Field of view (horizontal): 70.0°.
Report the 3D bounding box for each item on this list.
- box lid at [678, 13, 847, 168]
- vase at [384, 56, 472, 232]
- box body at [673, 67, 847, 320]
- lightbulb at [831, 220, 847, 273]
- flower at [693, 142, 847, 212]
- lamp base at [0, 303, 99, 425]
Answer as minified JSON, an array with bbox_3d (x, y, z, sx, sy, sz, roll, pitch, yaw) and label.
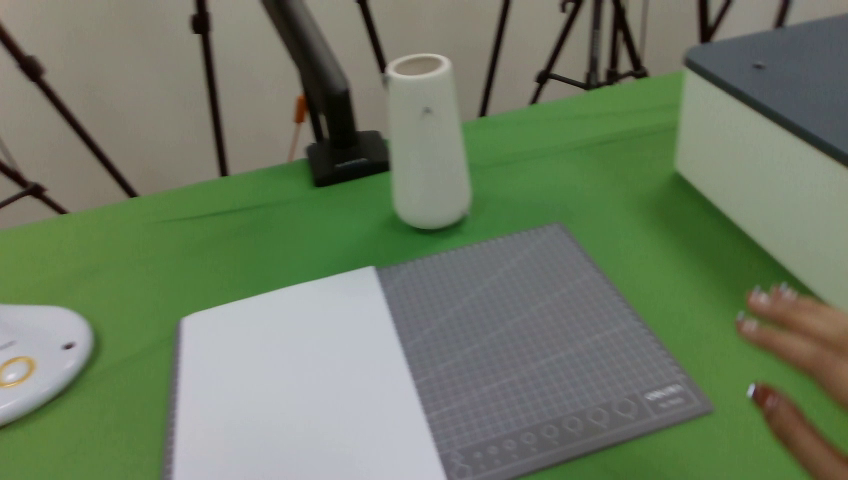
[{"bbox_3d":[0.452,-0.141,0.579,0.263,0.015,0.367,-14,37,-6],"label":"box lid"},{"bbox_3d":[0.002,-0.109,0.716,0.098,0.202,0.097,-6,36,5],"label":"vase"},{"bbox_3d":[0.461,-0.084,0.626,0.254,0.162,0.360,-14,37,-7],"label":"box body"},{"bbox_3d":[0.434,0.006,0.593,0.059,0.060,0.107,-1,21,10],"label":"lightbulb"},{"bbox_3d":[0.476,-0.035,0.674,0.044,0.038,0.358,-31,46,-33],"label":"flower"},{"bbox_3d":[-0.438,0.063,0.582,0.178,0.182,0.160,17,43,33],"label":"lamp base"}]
